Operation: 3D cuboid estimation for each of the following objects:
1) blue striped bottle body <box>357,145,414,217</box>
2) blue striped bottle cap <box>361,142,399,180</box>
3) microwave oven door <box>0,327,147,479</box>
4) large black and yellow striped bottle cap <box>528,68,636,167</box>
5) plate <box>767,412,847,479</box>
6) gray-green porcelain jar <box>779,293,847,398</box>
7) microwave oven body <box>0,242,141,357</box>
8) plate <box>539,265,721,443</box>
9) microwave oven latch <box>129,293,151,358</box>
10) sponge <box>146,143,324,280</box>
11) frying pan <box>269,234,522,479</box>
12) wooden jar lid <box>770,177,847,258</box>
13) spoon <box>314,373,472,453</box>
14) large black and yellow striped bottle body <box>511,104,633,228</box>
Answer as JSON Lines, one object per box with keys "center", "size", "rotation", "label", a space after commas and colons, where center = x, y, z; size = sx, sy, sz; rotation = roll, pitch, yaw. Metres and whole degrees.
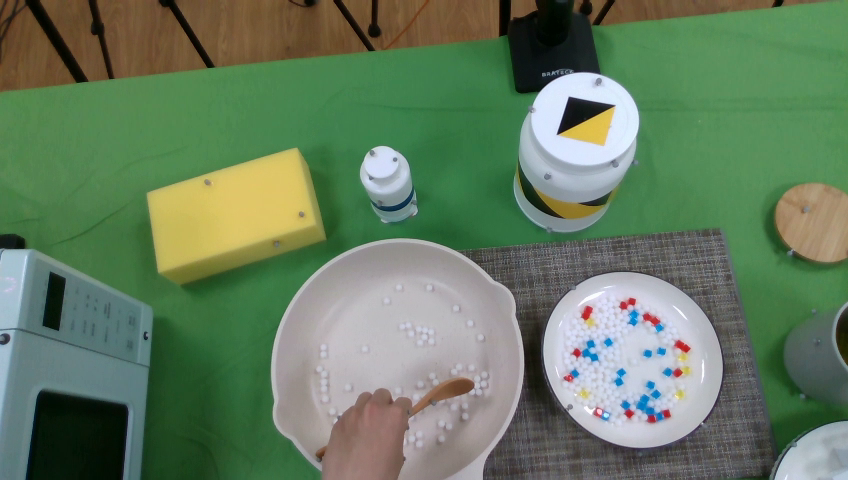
{"center": [-0.048, -0.079, 0.775], "size": [0.063, 0.121, 0.062], "rotation": [-1, 71, 4], "label": "blue striped bottle body"}
{"center": [-0.053, -0.095, 0.726], "size": [0.044, 0.021, 0.044], "rotation": [-2, 69, 5], "label": "blue striped bottle cap"}
{"center": [-0.360, 0.281, 0.594], "size": [0.039, 0.245, 0.353], "rotation": [-5, 71, 3], "label": "microwave oven door"}
{"center": [0.170, -0.134, 0.656], "size": [0.115, 0.019, 0.114], "rotation": [-1, 73, 4], "label": "large black and yellow striped bottle cap"}
{"center": [0.476, 0.293, 0.657], "size": [0.207, 0.039, 0.206], "rotation": [-1, 71, 4], "label": "plate"}
{"center": [0.468, 0.118, 0.669], "size": [0.106, 0.127, 0.105], "rotation": [-1, 71, 4], "label": "gray-green porcelain jar"}
{"center": [-0.507, 0.255, 0.619], "size": [0.326, 0.262, 0.438], "rotation": [-5, 72, 2], "label": "microwave oven body"}
{"center": [0.241, 0.133, 0.723], "size": [0.209, 0.038, 0.208], "rotation": [-1, 72, 4], "label": "plate"}
{"center": [-0.363, 0.108, 0.760], "size": [0.030, 0.030, 0.078], "rotation": [-4, 72, 3], "label": "microwave oven latch"}
{"center": [-0.250, -0.037, 0.807], "size": [0.207, 0.061, 0.117], "rotation": [-18, 71, -3], "label": "sponge"}
{"center": [0.014, 0.219, 0.677], "size": [0.307, 0.103, 0.483], "rotation": [-27, 64, -4], "label": "frying pan"}
{"center": [0.496, -0.027, 0.772], "size": [0.108, 0.021, 0.107], "rotation": [-1, 73, 4], "label": "wooden jar lid"}
{"center": [-0.029, 0.189, 0.664], "size": [0.194, 0.042, 0.021], "rotation": [-21, 56, -29], "label": "spoon"}
{"center": [0.176, -0.105, 0.735], "size": [0.131, 0.185, 0.130], "rotation": [-1, 71, 4], "label": "large black and yellow striped bottle body"}
